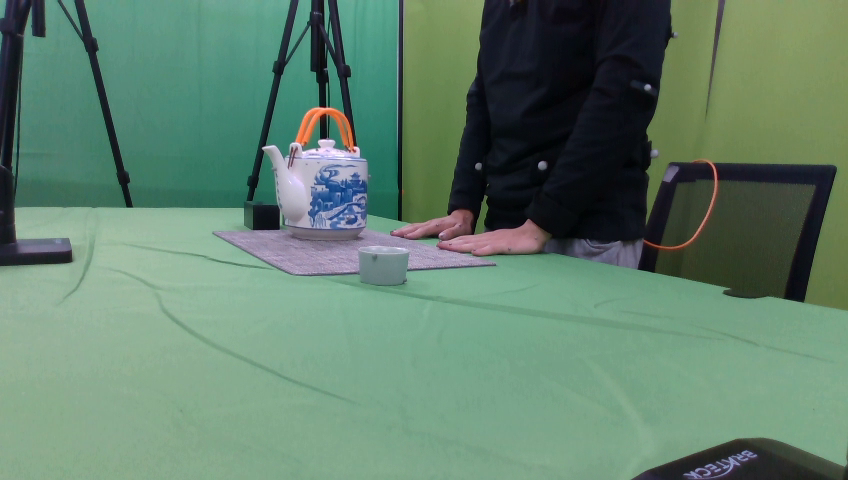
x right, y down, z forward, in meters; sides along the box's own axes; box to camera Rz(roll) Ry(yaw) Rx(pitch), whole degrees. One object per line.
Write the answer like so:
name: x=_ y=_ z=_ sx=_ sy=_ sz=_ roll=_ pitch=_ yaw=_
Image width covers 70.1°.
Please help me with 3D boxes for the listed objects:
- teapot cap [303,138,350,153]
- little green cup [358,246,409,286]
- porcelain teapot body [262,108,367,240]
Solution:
teapot cap: x=-0.172 y=-0.156 z=1.060 sx=0.085 sy=0.044 sz=0.085 roll=-1 pitch=7 yaw=0
little green cup: x=-0.048 y=0.030 z=0.707 sx=0.061 sy=0.038 sz=0.061 roll=2 pitch=8 yaw=0
porcelain teapot body: x=-0.190 y=-0.115 z=1.041 sx=0.144 sy=0.225 sz=0.206 roll=8 pitch=10 yaw=36
